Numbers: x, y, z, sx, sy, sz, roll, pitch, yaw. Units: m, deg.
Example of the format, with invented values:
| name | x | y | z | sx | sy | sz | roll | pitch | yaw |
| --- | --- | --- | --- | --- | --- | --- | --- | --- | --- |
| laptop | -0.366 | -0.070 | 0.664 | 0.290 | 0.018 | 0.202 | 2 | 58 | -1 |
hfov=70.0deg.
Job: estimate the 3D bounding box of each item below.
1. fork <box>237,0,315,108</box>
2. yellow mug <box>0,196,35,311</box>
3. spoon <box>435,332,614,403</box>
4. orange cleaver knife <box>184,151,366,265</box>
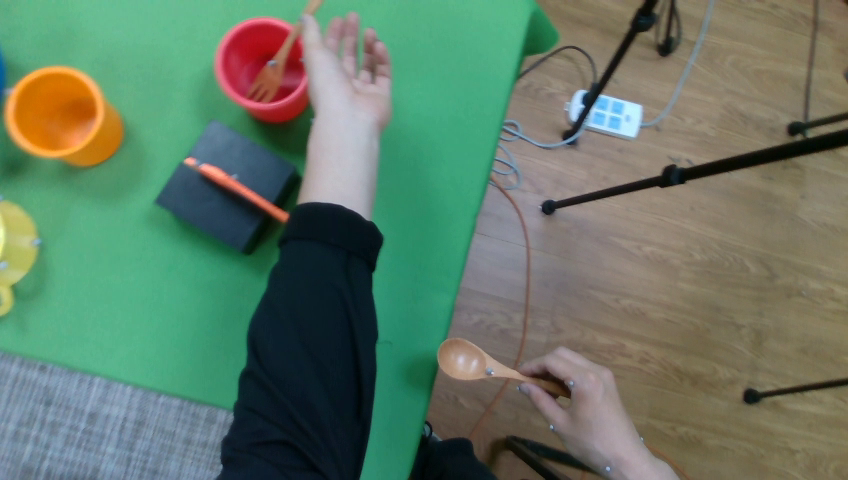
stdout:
| name | x | y | z | sx | sy | sz | roll | pitch | yaw |
| --- | --- | --- | --- | --- | --- | --- | --- | --- | --- |
| fork | -0.137 | -0.215 | 0.623 | 0.028 | 0.018 | 0.207 | 46 | 124 | 1 |
| yellow mug | -0.454 | 0.012 | 0.609 | 0.100 | 0.064 | 0.131 | -26 | 89 | -8 |
| spoon | 0.104 | 0.137 | 0.620 | 0.194 | 0.022 | 0.041 | 17 | 62 | 1 |
| orange cleaver knife | -0.152 | -0.031 | 0.637 | 0.213 | 0.076 | 0.012 | 34 | 82 | -32 |
